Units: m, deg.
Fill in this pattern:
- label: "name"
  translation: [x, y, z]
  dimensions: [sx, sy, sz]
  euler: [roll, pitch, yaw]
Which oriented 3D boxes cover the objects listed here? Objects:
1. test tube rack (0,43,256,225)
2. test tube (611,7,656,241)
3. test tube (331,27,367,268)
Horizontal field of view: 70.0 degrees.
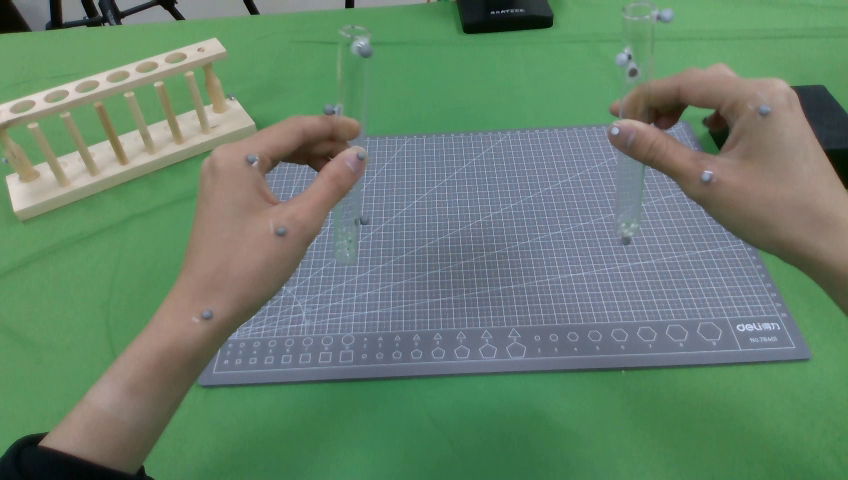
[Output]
- label: "test tube rack"
  translation: [-0.305, -0.112, 0.612]
  dimensions: [0.242, 0.086, 0.066]
  euler: [-26, 50, -21]
- label: "test tube"
  translation: [0.113, -0.054, 0.333]
  dimensions: [0.017, 0.152, 0.017]
  euler: [-7, 45, 8]
- label: "test tube"
  translation: [-0.043, -0.042, 0.338]
  dimensions: [0.017, 0.151, 0.017]
  euler: [5, 39, -4]
